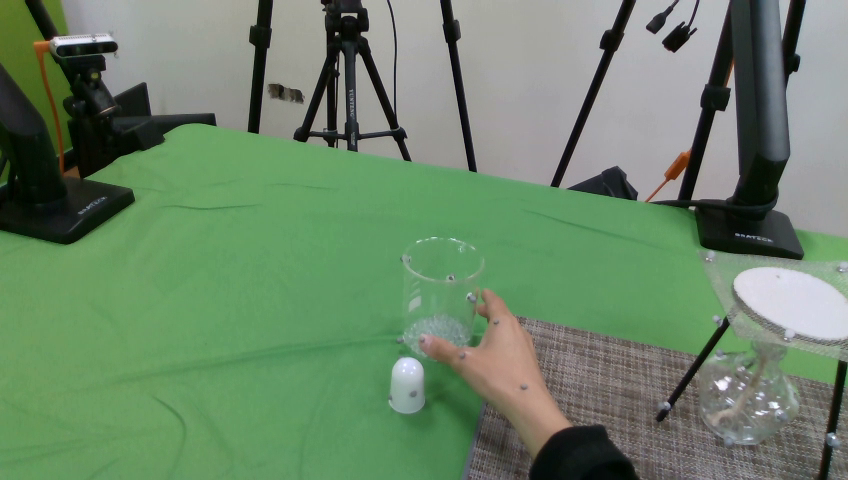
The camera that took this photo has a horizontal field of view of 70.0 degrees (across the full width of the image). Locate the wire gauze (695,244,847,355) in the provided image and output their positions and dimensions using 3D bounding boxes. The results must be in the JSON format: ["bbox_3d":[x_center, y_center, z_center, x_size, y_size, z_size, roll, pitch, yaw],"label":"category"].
[{"bbox_3d":[0.276,0.041,0.449,0.125,0.011,0.120,9,35,6],"label":"wire gauze"}]

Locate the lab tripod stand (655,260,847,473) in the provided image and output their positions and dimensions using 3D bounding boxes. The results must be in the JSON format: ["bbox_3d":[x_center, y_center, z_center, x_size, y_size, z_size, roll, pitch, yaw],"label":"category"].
[{"bbox_3d":[0.277,0.096,0.489,0.148,0.132,0.147,4,33,-2],"label":"lab tripod stand"}]

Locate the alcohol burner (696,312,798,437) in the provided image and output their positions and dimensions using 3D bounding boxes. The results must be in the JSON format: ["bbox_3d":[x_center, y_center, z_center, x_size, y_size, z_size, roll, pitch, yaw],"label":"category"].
[{"bbox_3d":[0.268,0.104,0.494,0.078,0.120,0.077,3,35,-2],"label":"alcohol burner"}]

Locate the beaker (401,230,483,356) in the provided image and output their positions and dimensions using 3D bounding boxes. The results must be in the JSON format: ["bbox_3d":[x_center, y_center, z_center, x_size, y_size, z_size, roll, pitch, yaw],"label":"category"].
[{"bbox_3d":[0.015,0.051,0.570,0.073,0.101,0.084,21,36,23],"label":"beaker"}]

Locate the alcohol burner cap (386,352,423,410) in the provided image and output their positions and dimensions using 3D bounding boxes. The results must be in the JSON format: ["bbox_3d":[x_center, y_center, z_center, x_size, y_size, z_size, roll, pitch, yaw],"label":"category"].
[{"bbox_3d":[-0.016,0.118,0.518,0.034,0.048,0.033,3,34,-2],"label":"alcohol burner cap"}]
